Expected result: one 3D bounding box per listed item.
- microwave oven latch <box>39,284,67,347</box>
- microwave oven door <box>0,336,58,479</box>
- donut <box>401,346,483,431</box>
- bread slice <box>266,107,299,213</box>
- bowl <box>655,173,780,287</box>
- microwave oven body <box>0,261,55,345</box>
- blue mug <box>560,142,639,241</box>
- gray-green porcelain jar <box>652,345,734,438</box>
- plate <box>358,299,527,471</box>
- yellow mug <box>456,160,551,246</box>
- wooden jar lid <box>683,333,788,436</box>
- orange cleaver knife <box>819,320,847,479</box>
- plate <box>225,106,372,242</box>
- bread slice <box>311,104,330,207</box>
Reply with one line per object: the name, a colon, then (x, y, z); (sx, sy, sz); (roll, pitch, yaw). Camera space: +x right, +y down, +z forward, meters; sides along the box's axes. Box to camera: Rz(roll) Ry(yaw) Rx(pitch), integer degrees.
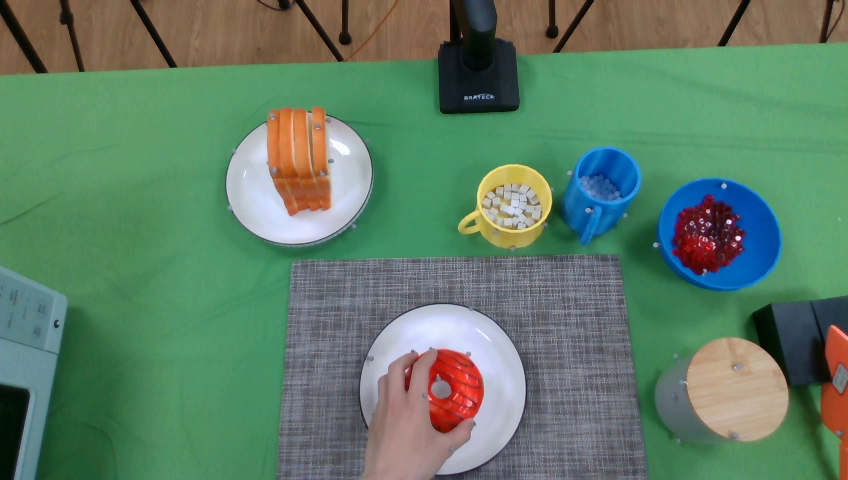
microwave oven latch: (-0.489, 0.097, 0.786); (0.030, 0.030, 0.078); (1, 71, 2)
microwave oven door: (-0.493, 0.269, 0.618); (0.039, 0.245, 0.353); (-2, 70, 2)
donut: (0.021, 0.173, 0.711); (0.099, 0.048, 0.098); (-2, 68, 5)
bread slice: (-0.188, -0.114, 0.812); (0.018, 0.135, 0.106); (-4, 66, -1)
bowl: (0.369, -0.003, 0.791); (0.151, 0.077, 0.150); (-1, 71, 2)
microwave oven body: (-0.638, 0.234, 0.640); (0.326, 0.262, 0.438); (-1, 71, 1)
blue mug: (0.225, -0.053, 0.800); (0.082, 0.106, 0.116); (17, 72, 8)
gray-green porcelain jar: (0.332, 0.175, 0.704); (0.106, 0.127, 0.105); (0, 70, 2)
plate: (0.023, 0.178, 0.756); (0.209, 0.038, 0.207); (-1, 70, 2)
yellow mug: (0.104, -0.043, 0.821); (0.131, 0.064, 0.099); (-23, 71, -5)
wooden jar lid: (0.328, 0.154, 0.645); (0.108, 0.021, 0.107); (0, 71, 0)
orange cleaver knife: (0.490, 0.202, 0.713); (0.012, 0.077, 0.212); (-5, 100, 1)
plate: (-0.175, -0.091, 0.862); (0.207, 0.039, 0.206); (0, 71, 2)
bread slice: (-0.139, -0.116, 0.812); (0.019, 0.132, 0.104); (-4, 72, -7)
